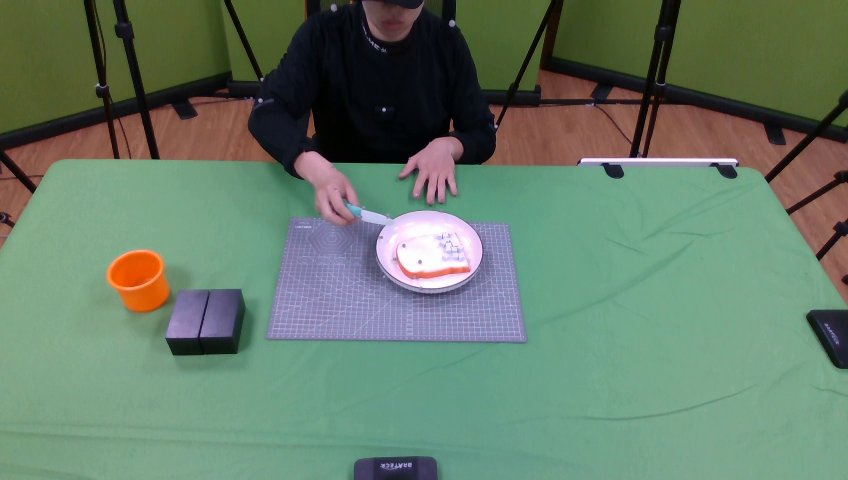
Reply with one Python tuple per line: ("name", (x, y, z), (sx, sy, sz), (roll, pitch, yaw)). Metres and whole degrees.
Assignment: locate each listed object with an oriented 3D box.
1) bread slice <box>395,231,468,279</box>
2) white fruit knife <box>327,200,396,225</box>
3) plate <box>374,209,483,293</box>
("bread slice", (0.011, 0.030, 1.159), (0.132, 0.019, 0.104), (-8, 47, -14))
("white fruit knife", (-0.114, -0.048, 1.080), (0.016, 0.027, 0.206), (-29, 28, -34))
("plate", (0.009, 0.024, 1.160), (0.209, 0.038, 0.208), (2, 46, -2))
